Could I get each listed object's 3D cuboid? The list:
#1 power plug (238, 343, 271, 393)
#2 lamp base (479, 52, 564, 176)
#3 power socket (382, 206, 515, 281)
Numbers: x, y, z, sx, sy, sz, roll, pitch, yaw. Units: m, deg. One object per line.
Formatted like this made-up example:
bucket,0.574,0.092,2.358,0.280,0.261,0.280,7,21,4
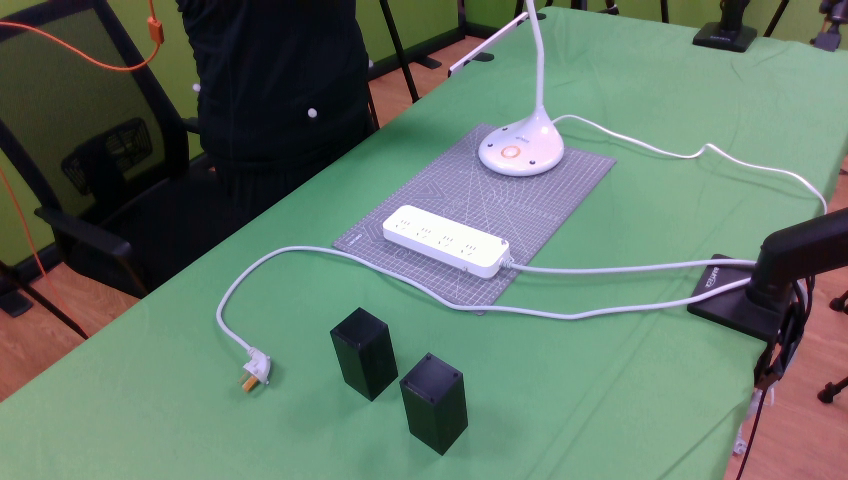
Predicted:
power plug,-0.230,0.172,0.801,0.072,0.035,0.053,8,50,50
lamp base,0.181,-0.235,1.094,0.159,0.181,0.179,18,44,27
power socket,0.032,0.002,0.950,0.225,0.033,0.072,21,49,29
